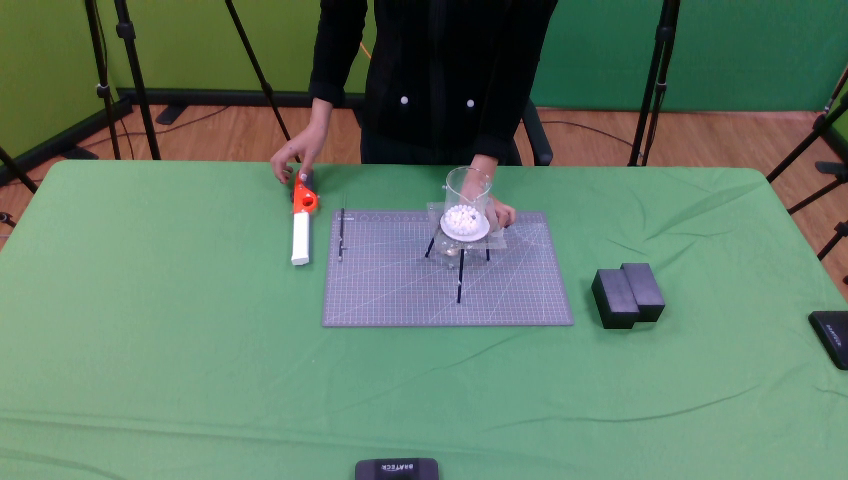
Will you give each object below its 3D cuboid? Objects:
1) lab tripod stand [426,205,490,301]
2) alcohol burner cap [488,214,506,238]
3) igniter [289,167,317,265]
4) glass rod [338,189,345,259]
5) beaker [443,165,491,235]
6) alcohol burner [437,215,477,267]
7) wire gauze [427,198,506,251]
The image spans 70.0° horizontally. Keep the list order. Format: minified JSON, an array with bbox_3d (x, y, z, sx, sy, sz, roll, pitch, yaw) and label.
[{"bbox_3d":[0.069,0.016,1.105,0.148,0.132,0.147,3,47,-3],"label":"lab tripod stand"},{"bbox_3d":[0.148,-0.032,1.221,0.034,0.048,0.033,2,46,-2],"label":"alcohol burner cap"},{"bbox_3d":[-0.247,-0.058,1.233,0.057,0.025,0.274,-8,46,-1],"label":"igniter"},{"bbox_3d":[-0.166,-0.036,1.227,0.008,0.008,0.198,-1,46,-4],"label":"glass rod"},{"bbox_3d":[0.070,-0.062,1.023,0.074,0.101,0.083,-2,48,-6],"label":"beaker"},{"bbox_3d":[0.064,-0.004,1.140,0.078,0.119,0.077,3,48,-3],"label":"alcohol burner"},{"bbox_3d":[0.072,-0.028,1.057,0.125,0.011,0.120,-1,49,-8],"label":"wire gauze"}]
